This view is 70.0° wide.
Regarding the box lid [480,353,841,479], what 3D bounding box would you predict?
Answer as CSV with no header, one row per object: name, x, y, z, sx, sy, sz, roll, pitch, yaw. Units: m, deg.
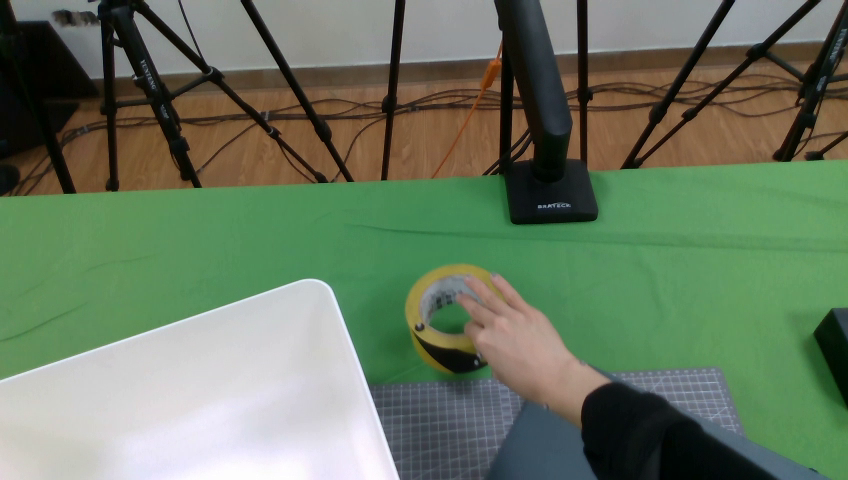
box lid,0.239,0.280,0.568,0.369,0.015,0.262,24,56,21

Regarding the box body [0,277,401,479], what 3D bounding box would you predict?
box body,-0.213,0.223,0.544,0.364,0.162,0.251,-19,52,-11

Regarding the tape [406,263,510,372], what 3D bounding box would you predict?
tape,0.037,0.083,0.667,0.117,0.053,0.115,-4,48,5
